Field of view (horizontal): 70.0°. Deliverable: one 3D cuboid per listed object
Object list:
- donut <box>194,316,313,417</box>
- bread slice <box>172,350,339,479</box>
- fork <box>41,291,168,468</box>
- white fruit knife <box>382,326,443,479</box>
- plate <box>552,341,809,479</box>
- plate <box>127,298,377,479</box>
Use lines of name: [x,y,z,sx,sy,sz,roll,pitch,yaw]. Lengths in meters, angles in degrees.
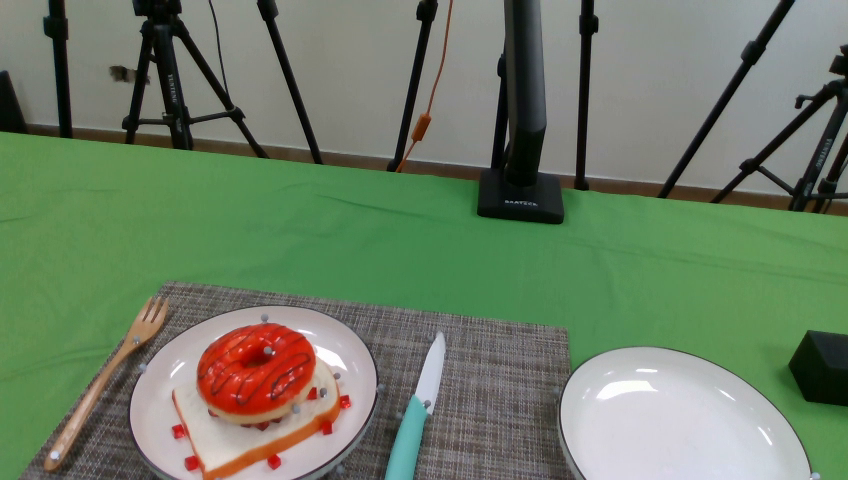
donut: [-0.144,0.106,0.515,0.099,0.048,0.098,3,36,-2]
bread slice: [-0.144,0.138,0.535,0.132,0.019,0.103,-20,44,-29]
fork: [-0.289,0.117,0.560,0.028,0.019,0.205,12,34,-2]
white fruit knife: [-0.006,0.148,0.553,0.027,0.016,0.206,33,35,-9]
plate: [0.213,0.175,0.525,0.208,0.039,0.205,3,36,-2]
plate: [-0.147,0.134,0.537,0.209,0.038,0.207,3,37,-2]
